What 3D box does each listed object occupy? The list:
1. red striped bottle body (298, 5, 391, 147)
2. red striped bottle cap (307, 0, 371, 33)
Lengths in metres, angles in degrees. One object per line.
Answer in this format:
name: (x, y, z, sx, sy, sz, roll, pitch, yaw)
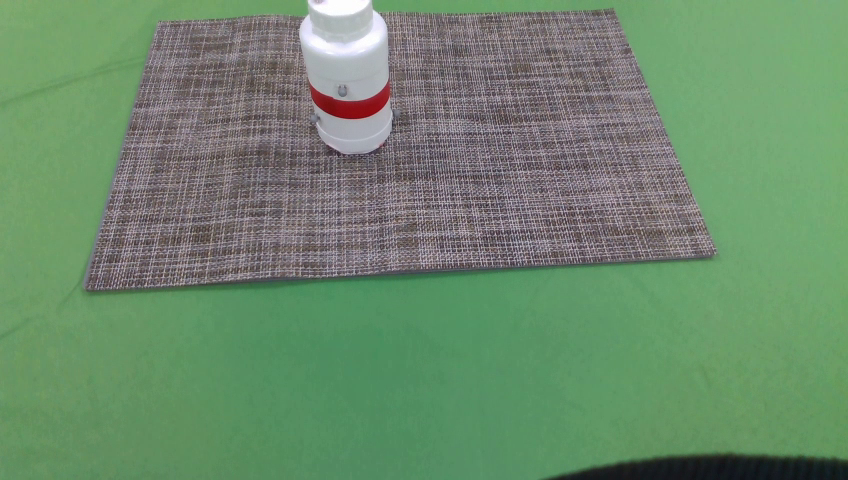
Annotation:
red striped bottle body: (-0.058, -0.132, 0.458, 0.063, 0.120, 0.062, 0, 56, 0)
red striped bottle cap: (-0.058, -0.163, 0.415, 0.044, 0.018, 0.044, 1, 58, -2)
